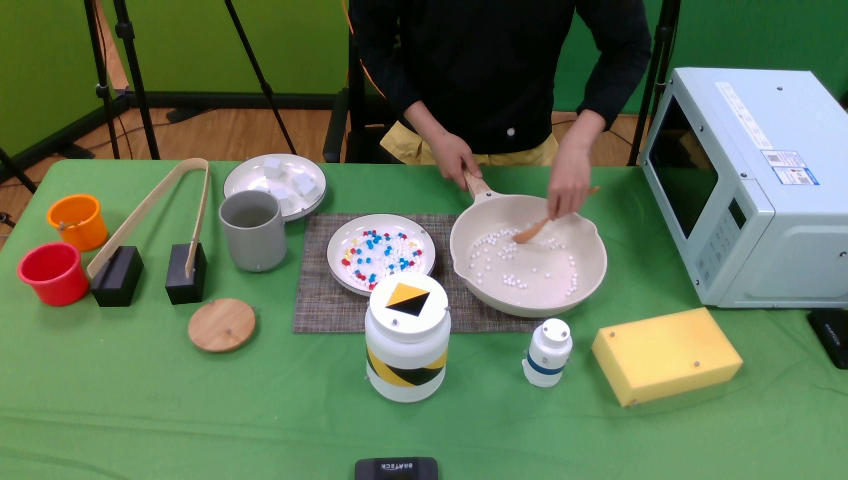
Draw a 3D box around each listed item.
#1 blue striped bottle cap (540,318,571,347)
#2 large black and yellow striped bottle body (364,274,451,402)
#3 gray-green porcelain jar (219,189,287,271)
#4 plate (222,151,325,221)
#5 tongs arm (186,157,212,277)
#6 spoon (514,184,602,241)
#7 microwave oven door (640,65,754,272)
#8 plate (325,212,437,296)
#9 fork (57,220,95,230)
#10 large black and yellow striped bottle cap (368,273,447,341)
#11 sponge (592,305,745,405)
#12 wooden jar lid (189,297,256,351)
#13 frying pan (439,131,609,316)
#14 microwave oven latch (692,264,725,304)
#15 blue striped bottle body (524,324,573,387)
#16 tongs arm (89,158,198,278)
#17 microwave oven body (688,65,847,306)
[{"bbox_3d":[0.203,0.142,0.933,0.044,0.021,0.044,3,49,-3],"label":"blue striped bottle cap"},{"bbox_3d":[-0.026,0.151,0.937,0.131,0.185,0.130,2,47,-2],"label":"large black and yellow striped bottle body"},{"bbox_3d":[-0.309,-0.014,1.113,0.106,0.127,0.105,2,46,-2],"label":"gray-green porcelain jar"},{"bbox_3d":[-0.310,-0.106,1.263,0.208,0.039,0.206,2,46,-2],"label":"plate"},{"bbox_3d":[-0.445,-0.058,1.168,0.051,0.026,0.382,-5,37,-6],"label":"tongs arm"},{"bbox_3d":[0.258,-0.054,1.174,0.194,0.042,0.021,-37,55,13],"label":"spoon"},{"bbox_3d":[0.524,-0.147,1.193,0.039,0.245,0.353,0,47,-3],"label":"microwave oven door"},{"bbox_3d":[-0.080,0.030,1.143,0.209,0.038,0.208,3,46,-2],"label":"plate"},{"bbox_3d":[-0.624,-0.027,1.086,0.028,0.207,0.018,-3,92,-17],"label":"fork"},{"bbox_3d":[-0.023,0.094,0.875,0.115,0.019,0.114,2,45,-2],"label":"large black and yellow striped bottle cap"},{"bbox_3d":[0.405,0.190,1.014,0.207,0.061,0.117,-10,48,-13],"label":"sponge"},{"bbox_3d":[-0.342,0.145,1.033,0.108,0.021,0.107,3,45,-2],"label":"wooden jar lid"},{"bbox_3d":[0.149,-0.049,1.190,0.307,0.103,0.484,-17,58,-20],"label":"frying pan"},{"bbox_3d":[0.522,0.081,1.116,0.030,0.029,0.078,1,46,-2],"label":"microwave oven latch"},{"bbox_3d":[0.200,0.178,0.970,0.063,0.121,0.062,2,46,-2],"label":"blue striped bottle body"},{"bbox_3d":[-0.529,-0.057,1.164,0.028,0.028,0.385,1,36,8],"label":"tongs arm"},{"bbox_3d":[0.669,-0.111,1.176,0.326,0.261,0.439,0,46,-3],"label":"microwave oven body"}]
